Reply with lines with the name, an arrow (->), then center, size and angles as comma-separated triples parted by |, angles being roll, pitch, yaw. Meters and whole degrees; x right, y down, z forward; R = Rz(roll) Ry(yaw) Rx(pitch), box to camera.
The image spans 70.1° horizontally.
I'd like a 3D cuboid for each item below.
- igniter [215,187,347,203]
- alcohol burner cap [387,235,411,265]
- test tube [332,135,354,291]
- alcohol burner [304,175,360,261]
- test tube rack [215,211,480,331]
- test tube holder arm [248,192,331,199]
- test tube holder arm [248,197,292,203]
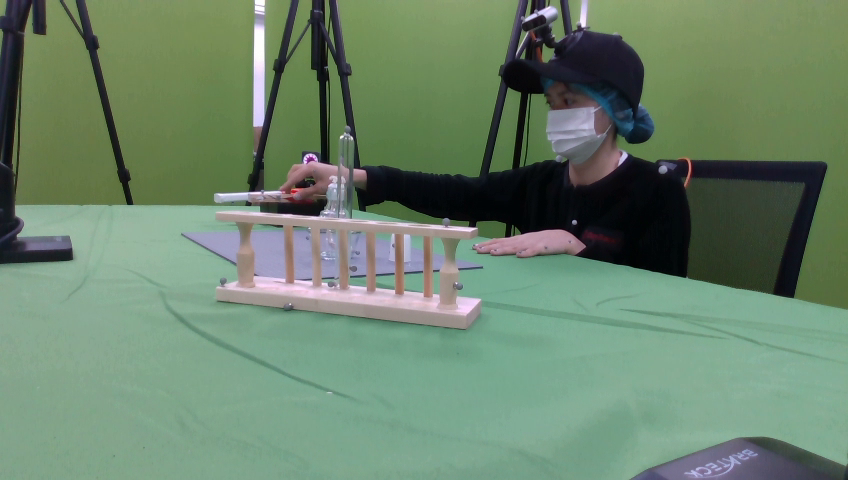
igniter -> -0.293, -0.094, 1.267 | 0.278, 0.025, 0.057 | -6, 11, -34
alcohol burner cap -> -0.035, 0.009, 0.839 | 0.034, 0.048, 0.034 | 2, 6, 0
test tube -> -0.078, -0.025, 0.581 | 0.017, 0.150, 0.017 | 3, 7, 0
alcohol burner -> -0.126, -0.031, 0.838 | 0.078, 0.119, 0.078 | 3, 5, 0
test tube rack -> -0.071, 0.023, 0.565 | 0.242, 0.085, 0.067 | 5, 7, 16
test tube holder arm -> -0.268, -0.089, 1.218 | 0.179, 0.013, 0.015 | -6, 19, -40
test tube holder arm -> -0.303, -0.080, 1.191 | 0.088, 0.010, 0.015 | -7, 19, -39
